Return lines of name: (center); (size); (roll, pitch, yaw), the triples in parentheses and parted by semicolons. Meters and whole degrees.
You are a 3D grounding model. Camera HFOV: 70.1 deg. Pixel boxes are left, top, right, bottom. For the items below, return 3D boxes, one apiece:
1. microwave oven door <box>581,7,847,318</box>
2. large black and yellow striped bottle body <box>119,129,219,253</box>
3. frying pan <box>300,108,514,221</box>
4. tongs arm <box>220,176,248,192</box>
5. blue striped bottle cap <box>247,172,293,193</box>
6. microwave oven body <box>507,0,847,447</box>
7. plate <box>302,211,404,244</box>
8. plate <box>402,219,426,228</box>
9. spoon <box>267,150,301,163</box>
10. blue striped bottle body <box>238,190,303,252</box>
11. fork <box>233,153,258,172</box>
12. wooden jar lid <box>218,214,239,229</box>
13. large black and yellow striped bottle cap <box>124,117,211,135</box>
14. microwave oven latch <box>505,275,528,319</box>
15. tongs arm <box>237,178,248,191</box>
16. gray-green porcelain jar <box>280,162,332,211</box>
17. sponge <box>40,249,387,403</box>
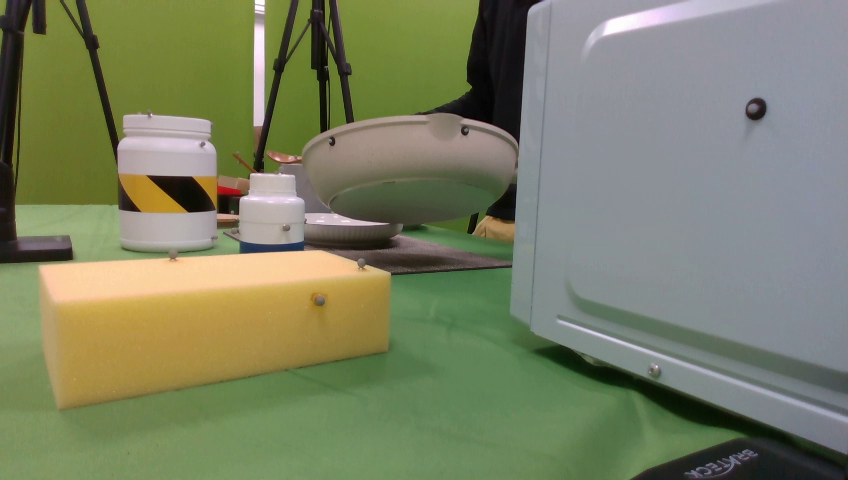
microwave oven door: (0.295, -0.067, 0.569); (0.358, 0.243, 0.039); (-3, 8, -31)
large black and yellow striped bottle body: (-0.367, -0.080, 0.876); (0.131, 0.184, 0.130); (2, 7, 0)
frying pan: (0.081, -0.101, 0.843); (0.490, 0.102, 0.306); (-8, -9, -17)
tongs arm: (-0.286, -0.104, 1.445); (0.389, 0.027, 0.028); (9, -4, -23)
blue striped bottle cap: (-0.152, -0.057, 0.598); (0.044, 0.020, 0.044); (3, 6, 0)
microwave oven body: (0.331, -0.042, 0.425); (0.444, 0.260, 0.324); (-2, 8, -31)
plate: (-0.139, -0.022, 1.021); (0.209, 0.038, 0.209); (2, 8, 0)
plate: (-0.089, -0.053, 1.309); (0.208, 0.039, 0.207); (2, 8, 0)
spoon: (-0.216, -0.164, 1.219); (0.194, 0.021, 0.041); (1, 28, -12)
blue striped bottle body: (-0.153, -0.007, 0.606); (0.063, 0.120, 0.063); (2, 7, 0)
fork: (-0.396, -0.143, 1.486); (0.028, 0.018, 0.208); (21, -25, 45)
wooden jar lid: (-0.404, -0.037, 1.169); (0.108, 0.020, 0.108); (3, 7, 0)
large black and yellow striped bottle cap: (-0.366, -0.163, 0.866); (0.115, 0.019, 0.115); (3, 7, 0)
microwave oven latch: (0.100, 0.042, 0.471); (0.079, 0.029, 0.030); (-1, 7, -29)
tongs arm: (-0.242, -0.095, 1.374); (0.387, 0.026, 0.050); (9, 0, -37)
gray-green porcelain jar: (-0.238, -0.092, 1.221); (0.106, 0.126, 0.106); (2, 8, 0)
sponge: (-0.142, 0.047, 0.420); (0.208, 0.061, 0.117); (-3, 8, -36)
